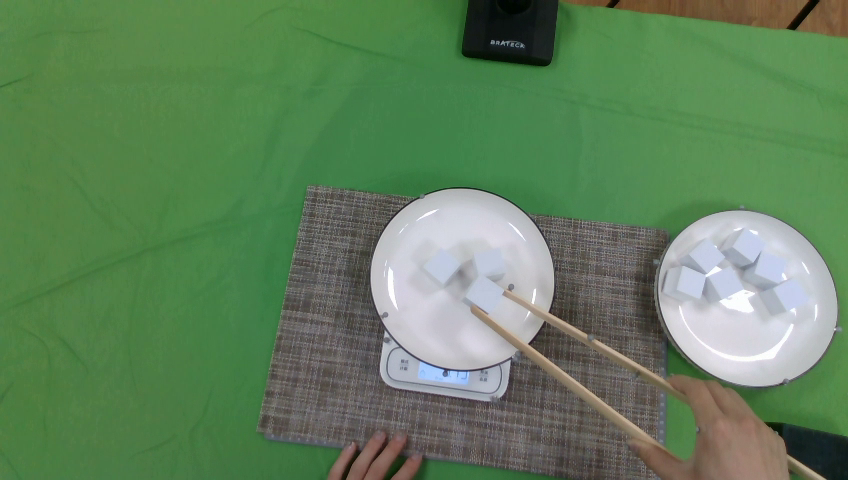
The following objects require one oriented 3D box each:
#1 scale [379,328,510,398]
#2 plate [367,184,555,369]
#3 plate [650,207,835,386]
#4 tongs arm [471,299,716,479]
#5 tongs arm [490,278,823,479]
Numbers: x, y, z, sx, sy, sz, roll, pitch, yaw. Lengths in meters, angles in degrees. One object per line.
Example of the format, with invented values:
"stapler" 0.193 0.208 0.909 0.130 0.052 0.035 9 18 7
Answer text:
"scale" 0.032 0.075 0.707 0.148 0.032 0.200 8 76 2
"plate" 0.041 0.040 0.682 0.209 0.038 0.208 0 76 0
"plate" 0.365 0.065 0.709 0.208 0.039 0.206 0 76 0
"tongs arm" 0.195 0.162 0.550 0.384 0.028 0.028 34 67 26
"tongs arm" 0.210 0.146 0.556 0.382 0.027 0.050 29 69 25
